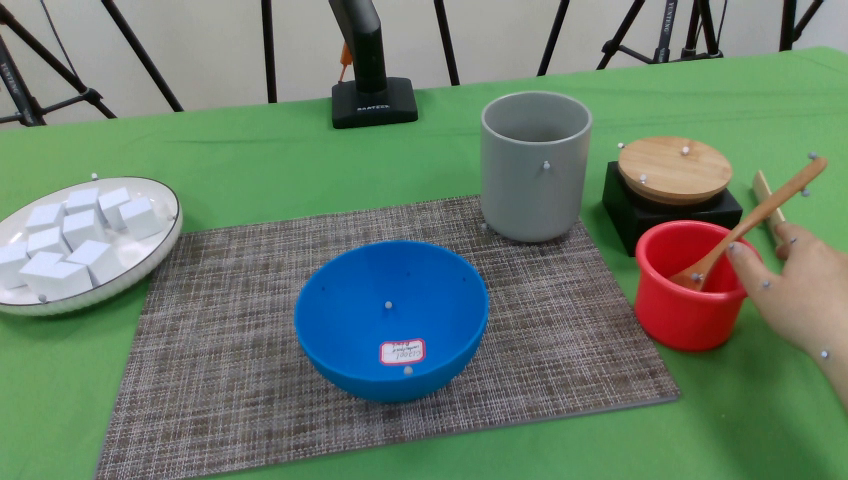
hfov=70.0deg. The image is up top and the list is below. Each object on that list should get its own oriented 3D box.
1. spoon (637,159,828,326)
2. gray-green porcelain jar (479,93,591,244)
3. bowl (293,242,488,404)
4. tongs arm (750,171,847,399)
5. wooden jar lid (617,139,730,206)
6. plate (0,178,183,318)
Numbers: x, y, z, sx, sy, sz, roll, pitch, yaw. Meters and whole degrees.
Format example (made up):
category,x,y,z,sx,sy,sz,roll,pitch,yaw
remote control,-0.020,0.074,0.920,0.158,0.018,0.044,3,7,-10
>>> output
category,x,y,z,sx,sy,sz,roll,pitch,yaw
spoon,0.257,0.004,0.508,0.022,0.194,0.041,30,20,-32
gray-green porcelain jar,0.109,-0.067,0.614,0.106,0.127,0.105,-2,40,2
bowl,-0.023,0.078,0.487,0.151,0.077,0.150,-2,39,2
tongs arm,0.350,0.055,0.531,0.028,0.028,0.384,4,40,5
wooden jar lid,0.251,-0.068,0.614,0.108,0.021,0.107,-3,40,3
plate,-0.355,0.008,0.633,0.209,0.038,0.207,-3,40,3
